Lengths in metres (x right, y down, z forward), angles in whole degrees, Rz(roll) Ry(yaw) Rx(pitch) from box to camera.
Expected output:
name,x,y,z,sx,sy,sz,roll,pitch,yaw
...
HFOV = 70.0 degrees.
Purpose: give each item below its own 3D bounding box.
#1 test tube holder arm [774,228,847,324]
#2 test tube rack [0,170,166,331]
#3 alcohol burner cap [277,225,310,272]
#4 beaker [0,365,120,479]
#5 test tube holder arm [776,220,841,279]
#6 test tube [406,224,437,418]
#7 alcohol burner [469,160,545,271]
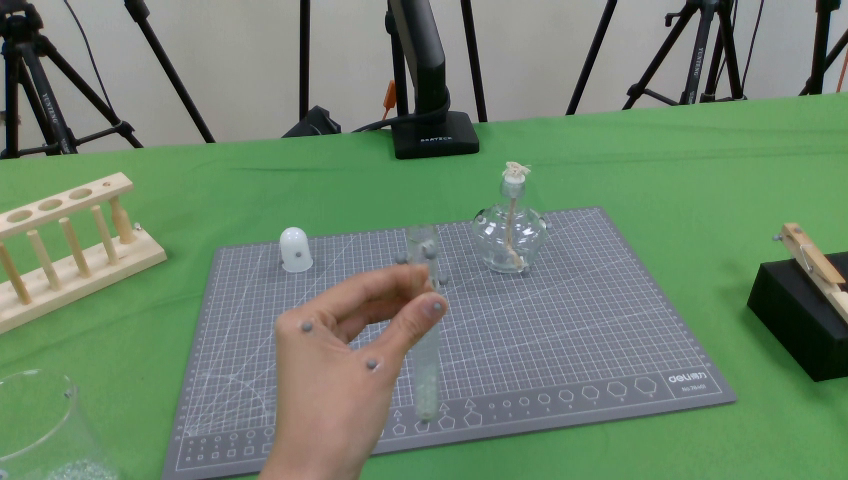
name,x,y,z,sx,sy,sz,roll,pitch,yaw
test tube holder arm,0.342,0.041,0.509,0.015,0.013,0.176,-1,36,2
test tube rack,-0.395,0.021,0.596,0.242,0.086,0.066,-29,44,-32
alcohol burner cap,-0.139,0.007,0.636,0.034,0.048,0.033,-1,36,1
beaker,-0.258,0.146,0.406,0.084,0.101,0.073,-2,36,2
test tube holder arm,0.343,0.010,0.542,0.015,0.010,0.087,-1,37,1
test tube,-0.001,0.054,0.347,0.017,0.151,0.017,0,39,0
alcohol burner,0.085,-0.028,0.612,0.078,0.120,0.077,0,36,0
